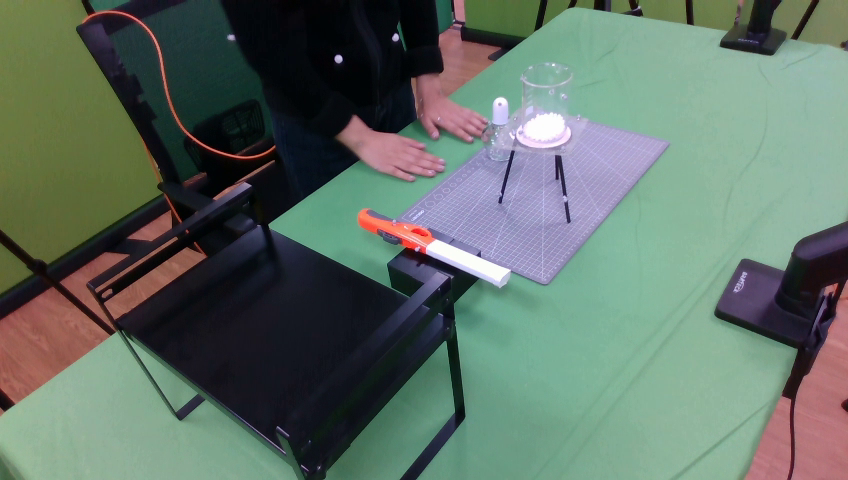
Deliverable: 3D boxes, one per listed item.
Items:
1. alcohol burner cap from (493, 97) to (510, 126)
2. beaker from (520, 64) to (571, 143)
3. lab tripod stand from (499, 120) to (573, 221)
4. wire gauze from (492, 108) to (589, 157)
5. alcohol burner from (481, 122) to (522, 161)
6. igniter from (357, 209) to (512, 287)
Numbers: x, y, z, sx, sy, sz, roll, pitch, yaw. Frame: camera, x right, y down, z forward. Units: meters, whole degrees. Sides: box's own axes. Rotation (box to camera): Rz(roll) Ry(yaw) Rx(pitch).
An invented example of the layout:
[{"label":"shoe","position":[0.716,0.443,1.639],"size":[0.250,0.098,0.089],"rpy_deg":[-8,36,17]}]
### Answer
[{"label":"alcohol burner cap","position":[0.141,-0.236,1.101],"size":[0.034,0.048,0.033],"rpy_deg":[-4,39,4]},{"label":"beaker","position":[0.187,-0.208,0.924],"size":[0.073,0.101,0.084],"rpy_deg":[23,49,30]},{"label":"lab tripod stand","position":[0.198,-0.117,0.992],"size":[0.148,0.132,0.147],"rpy_deg":[-3,40,3]},{"label":"wire gauze","position":[0.185,-0.169,0.953],"size":[0.121,0.011,0.125],"rpy_deg":[13,46,22]},{"label":"alcohol burner","position":[0.143,-0.208,1.124],"size":[0.078,0.119,0.077],"rpy_deg":[-6,39,5]},{"label":"igniter","position":[0.004,0.006,0.891],"size":[0.274,0.025,0.057],"rpy_deg":[23,38,30]}]
